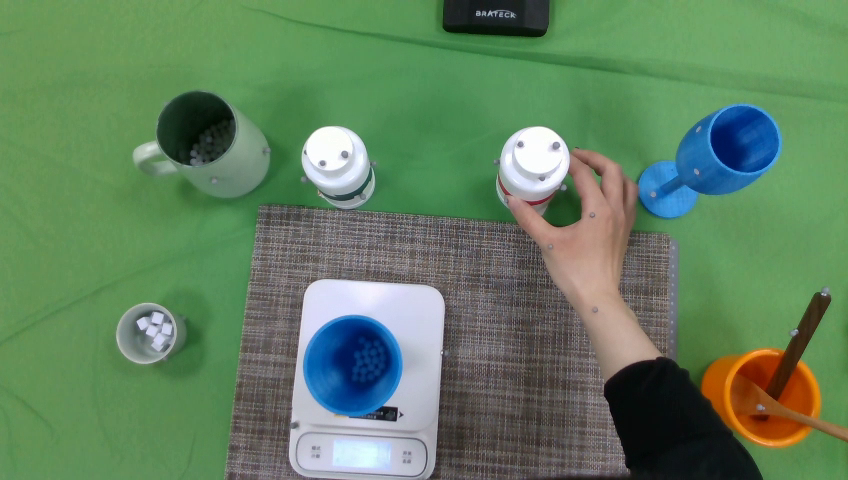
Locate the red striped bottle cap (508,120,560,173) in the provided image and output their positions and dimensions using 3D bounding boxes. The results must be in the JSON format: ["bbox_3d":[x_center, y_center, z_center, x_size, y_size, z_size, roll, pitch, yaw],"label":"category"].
[{"bbox_3d":[0.096,-0.082,0.530,0.044,0.018,0.044,-1,80,3],"label":"red striped bottle cap"}]

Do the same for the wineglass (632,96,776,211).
[{"bbox_3d":[0.261,-0.076,0.584,0.074,0.172,0.073,0,81,1],"label":"wineglass"}]

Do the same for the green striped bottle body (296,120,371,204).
[{"bbox_3d":[-0.090,-0.079,0.610,0.063,0.119,0.063,0,81,0],"label":"green striped bottle body"}]

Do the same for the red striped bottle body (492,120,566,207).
[{"bbox_3d":[0.099,-0.074,0.583,0.063,0.120,0.063,0,81,3],"label":"red striped bottle body"}]

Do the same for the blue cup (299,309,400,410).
[{"bbox_3d":[-0.064,0.106,0.560,0.093,0.100,0.092,0,84,-2],"label":"blue cup"}]

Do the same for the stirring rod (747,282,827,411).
[{"bbox_3d":[0.339,0.106,0.571,0.014,0.178,0.006,12,41,16],"label":"stirring rod"}]

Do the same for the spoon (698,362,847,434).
[{"bbox_3d":[0.353,0.160,0.565,0.022,0.192,0.041,19,89,-41],"label":"spoon"}]

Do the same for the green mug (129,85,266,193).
[{"bbox_3d":[-0.234,-0.096,0.620,0.125,0.105,0.092,-18,82,-2],"label":"green mug"}]

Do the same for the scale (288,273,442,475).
[{"bbox_3d":[-0.060,0.137,0.622,0.149,0.031,0.200,3,83,1],"label":"scale"}]

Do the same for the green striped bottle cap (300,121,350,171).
[{"bbox_3d":[-0.091,-0.087,0.559,0.044,0.020,0.044,0,81,0],"label":"green striped bottle cap"}]

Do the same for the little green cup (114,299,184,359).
[{"bbox_3d":[-0.281,0.092,0.627,0.061,0.039,0.061,0,82,-1],"label":"little green cup"}]
